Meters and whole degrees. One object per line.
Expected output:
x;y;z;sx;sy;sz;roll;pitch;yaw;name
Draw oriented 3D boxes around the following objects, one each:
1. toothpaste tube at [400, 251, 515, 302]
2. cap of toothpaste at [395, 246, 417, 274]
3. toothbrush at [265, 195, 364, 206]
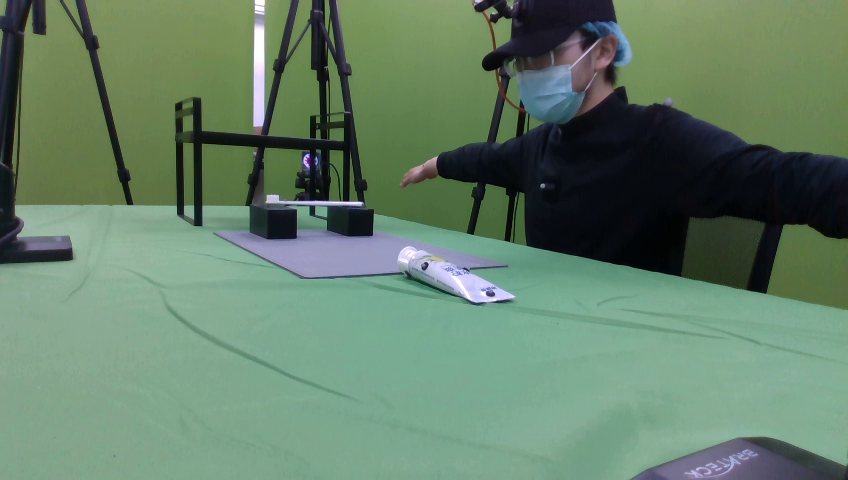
0.026;0.041;0.673;0.055;0.034;0.164;-10;17;-34;toothpaste tube
-0.018;0.025;0.738;0.037;0.037;0.011;-4;11;-41;cap of toothpaste
-0.194;-0.069;1.089;0.183;0.016;0.014;0;-5;-27;toothbrush
